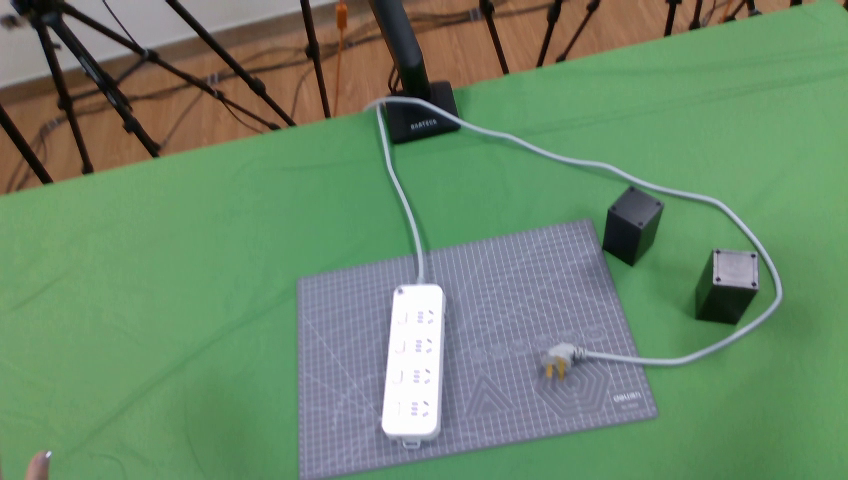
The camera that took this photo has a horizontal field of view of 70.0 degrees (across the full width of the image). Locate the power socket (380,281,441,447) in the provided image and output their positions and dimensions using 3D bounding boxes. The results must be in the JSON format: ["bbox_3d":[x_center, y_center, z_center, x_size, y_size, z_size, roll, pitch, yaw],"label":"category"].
[{"bbox_3d":[-0.015,0.156,0.803,0.072,0.033,0.224,-2,58,8],"label":"power socket"}]

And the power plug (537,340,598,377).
[{"bbox_3d":[0.180,0.149,0.762,0.072,0.035,0.052,-5,40,21],"label":"power plug"}]
